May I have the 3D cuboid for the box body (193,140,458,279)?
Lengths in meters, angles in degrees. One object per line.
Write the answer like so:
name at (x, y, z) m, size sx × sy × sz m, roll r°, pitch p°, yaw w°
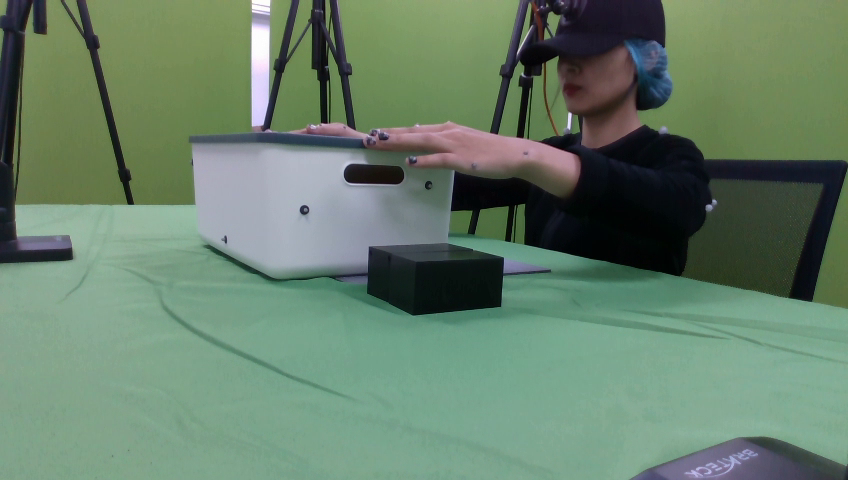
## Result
box body at (-0.154, -0.058, 0.840) m, size 0.255 × 0.160 × 0.362 m, roll -2°, pitch 9°, yaw -33°

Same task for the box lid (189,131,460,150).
box lid at (-0.150, -0.132, 0.828) m, size 0.265 × 0.015 × 0.369 m, roll -3°, pitch 9°, yaw -33°
